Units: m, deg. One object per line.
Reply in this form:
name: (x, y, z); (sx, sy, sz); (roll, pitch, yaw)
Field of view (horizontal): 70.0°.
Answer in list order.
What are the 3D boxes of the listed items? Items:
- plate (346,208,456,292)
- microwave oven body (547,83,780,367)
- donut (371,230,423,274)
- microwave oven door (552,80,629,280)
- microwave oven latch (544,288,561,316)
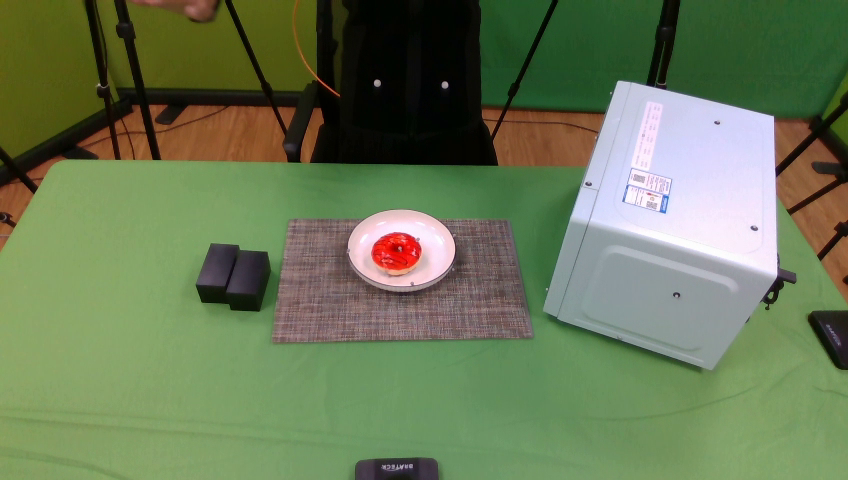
plate: (-0.044, 0.021, 1.159); (0.209, 0.038, 0.208); (2, 47, -2)
microwave oven body: (0.445, -0.041, 1.101); (0.325, 0.261, 0.440); (17, 47, 13)
donut: (-0.051, 0.022, 1.142); (0.099, 0.048, 0.098); (0, 45, 0)
microwave oven door: (0.324, -0.116, 1.156); (0.039, 0.245, 0.354); (18, 48, 13)
microwave oven latch: (0.237, 0.098, 1.087); (0.030, 0.029, 0.079); (17, 47, 13)
